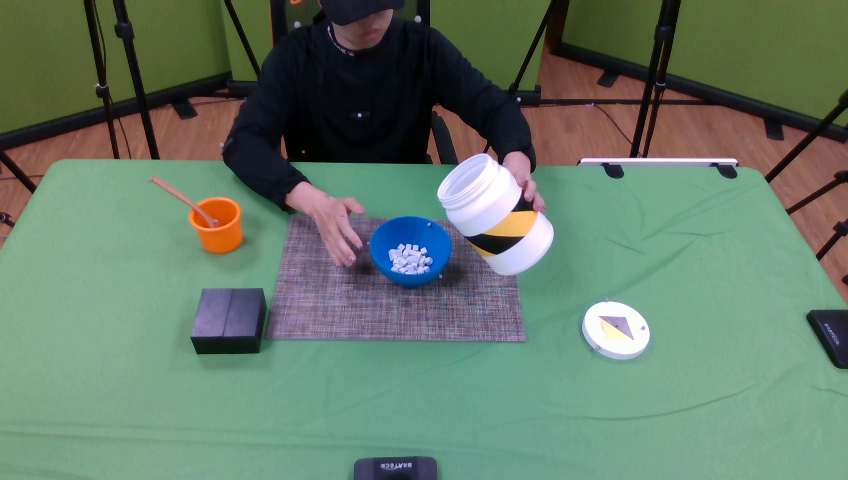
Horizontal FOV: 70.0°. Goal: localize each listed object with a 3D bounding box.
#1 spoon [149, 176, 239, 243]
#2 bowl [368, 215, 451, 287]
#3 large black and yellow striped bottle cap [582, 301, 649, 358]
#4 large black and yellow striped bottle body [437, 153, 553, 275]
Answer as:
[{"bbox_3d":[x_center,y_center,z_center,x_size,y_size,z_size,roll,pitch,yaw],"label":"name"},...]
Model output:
[{"bbox_3d":[-0.427,-0.057,1.132,0.021,0.195,0.041,-28,30,33],"label":"spoon"},{"bbox_3d":[-0.027,0.033,1.119,0.151,0.077,0.150,2,46,-2],"label":"bowl"},{"bbox_3d":[0.340,0.157,1.077,0.115,0.019,0.114,1,47,-1],"label":"large black and yellow striped bottle cap"},{"bbox_3d":[0.119,-0.045,1.025,0.131,0.185,0.130,-34,25,18],"label":"large black and yellow striped bottle body"}]
